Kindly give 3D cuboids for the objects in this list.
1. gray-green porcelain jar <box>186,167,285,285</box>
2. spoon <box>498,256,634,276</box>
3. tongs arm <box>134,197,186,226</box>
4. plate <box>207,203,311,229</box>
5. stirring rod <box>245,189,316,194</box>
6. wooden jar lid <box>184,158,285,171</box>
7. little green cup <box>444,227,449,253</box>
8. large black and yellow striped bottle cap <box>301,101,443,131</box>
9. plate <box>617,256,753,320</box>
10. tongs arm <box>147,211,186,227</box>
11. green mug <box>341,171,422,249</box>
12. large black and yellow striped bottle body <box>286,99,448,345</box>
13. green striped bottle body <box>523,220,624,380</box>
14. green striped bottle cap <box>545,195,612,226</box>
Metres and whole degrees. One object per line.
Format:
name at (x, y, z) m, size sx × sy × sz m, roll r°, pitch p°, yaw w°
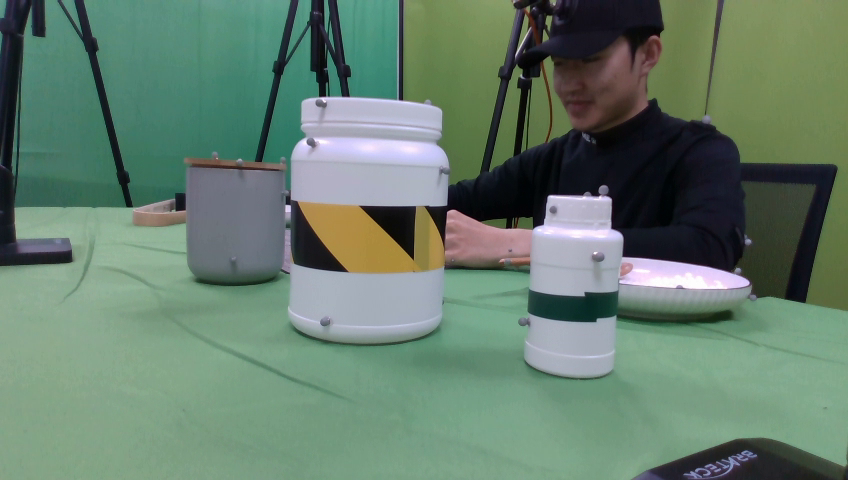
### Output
gray-green porcelain jar at (-0.212, -0.017, 0.682) m, size 0.106 × 0.126 × 0.106 m, roll 2°, pitch 7°, yaw 0°
spoon at (0.162, 0.027, 0.679) m, size 0.195 × 0.021 × 0.041 m, roll 8°, pitch 3°, yaw -30°
tongs arm at (-0.556, -0.066, 1.320) m, size 0.051 × 0.026 × 0.384 m, roll 7°, pitch 7°, yaw -5°
plate at (-0.342, -0.050, 1.259) m, size 0.208 × 0.039 × 0.207 m, roll 2°, pitch 7°, yaw 0°
stirring rod at (-0.351, -0.120, 1.489) m, size 0.177 × 0.014 × 0.006 m, roll -2°, pitch 6°, yaw -29°
wooden jar lid at (-0.210, -0.078, 0.674) m, size 0.108 × 0.020 × 0.108 m, roll 5°, pitch 6°, yaw 0°
little green cup at (0.007, 0.001, 0.920) m, size 0.061 × 0.038 × 0.061 m, roll 0°, pitch 8°, yaw 0°
large black and yellow striped bottle cap at (-0.042, -0.100, 0.491) m, size 0.115 × 0.019 × 0.115 m, roll 1°, pitch 8°, yaw 0°
plate at (0.234, 0.049, 0.650) m, size 0.209 × 0.038 × 0.209 m, roll 2°, pitch 7°, yaw 0°
tongs arm at (-0.478, -0.059, 1.322) m, size 0.028 × 0.028 × 0.388 m, roll 12°, pitch 8°, yaw 7°
green mug at (-0.064, -0.055, 0.961) m, size 0.104 × 0.093 × 0.125 m, roll -39°, pitch 14°, yaw 28°
large black and yellow striped bottle body at (-0.047, -0.018, 0.501) m, size 0.131 × 0.184 × 0.130 m, roll 2°, pitch 7°, yaw 0°
green striped bottle body at (0.104, 0.031, 0.421) m, size 0.063 × 0.119 × 0.063 m, roll 2°, pitch 7°, yaw 0°
green striped bottle cap at (0.106, -0.020, 0.414) m, size 0.044 × 0.020 × 0.044 m, roll 2°, pitch 4°, yaw 0°
